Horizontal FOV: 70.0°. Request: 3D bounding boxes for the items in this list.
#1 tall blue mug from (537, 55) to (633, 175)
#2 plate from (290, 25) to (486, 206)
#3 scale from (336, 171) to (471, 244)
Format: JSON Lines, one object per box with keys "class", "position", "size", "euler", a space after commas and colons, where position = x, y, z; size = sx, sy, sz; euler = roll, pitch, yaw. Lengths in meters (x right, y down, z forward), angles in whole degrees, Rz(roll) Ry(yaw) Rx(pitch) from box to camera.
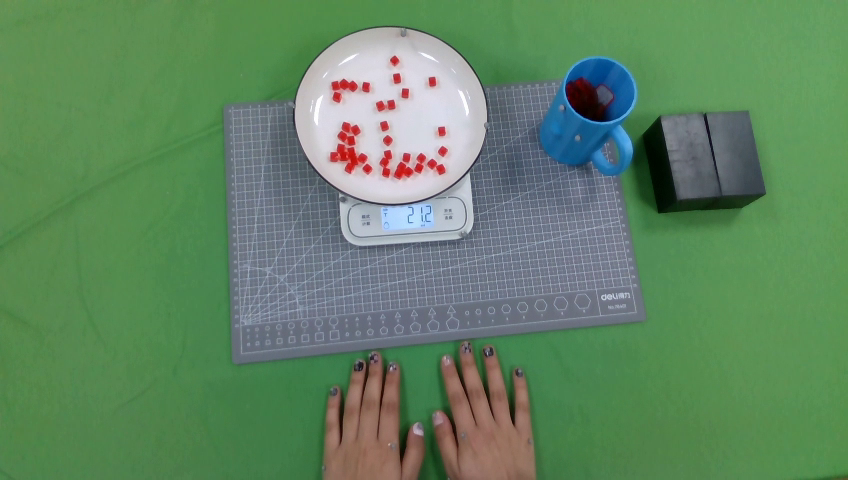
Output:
{"class": "tall blue mug", "position": [0.186, -0.131, 0.664], "size": [0.107, 0.108, 0.077], "euler": [32, 77, 6]}
{"class": "plate", "position": [-0.037, -0.132, 0.659], "size": [0.209, 0.038, 0.208], "euler": [1, 77, -3]}
{"class": "scale", "position": [-0.027, -0.098, 0.686], "size": [0.149, 0.031, 0.200], "euler": [-4, 77, -3]}
